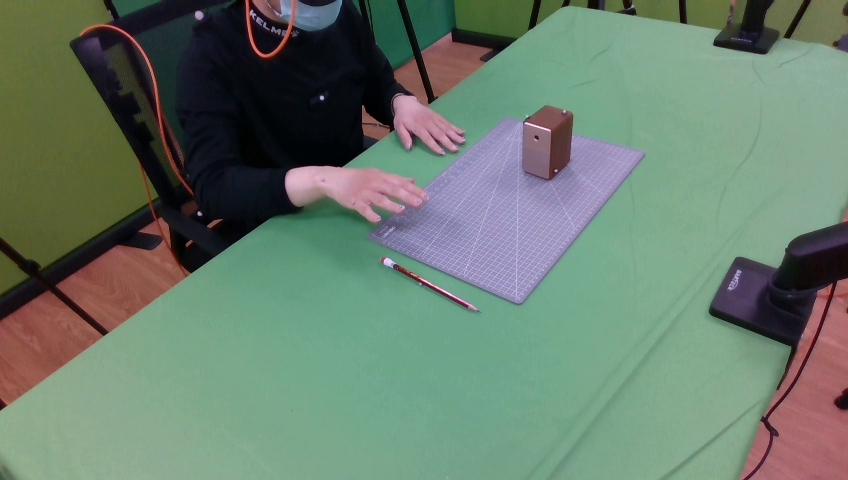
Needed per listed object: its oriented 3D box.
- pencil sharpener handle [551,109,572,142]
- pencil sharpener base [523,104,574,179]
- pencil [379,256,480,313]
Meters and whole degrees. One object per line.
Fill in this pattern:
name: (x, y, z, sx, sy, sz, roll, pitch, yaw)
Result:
pencil sharpener handle: (0.253, -0.212, 1.090, 0.035, 0.068, 0.031, 22, 48, 36)
pencil sharpener base: (0.220, -0.175, 1.071, 0.061, 0.107, 0.077, 26, 50, 33)
pencil: (0.005, 0.066, 0.901, 0.192, 0.012, 0.012, 27, 51, 32)
